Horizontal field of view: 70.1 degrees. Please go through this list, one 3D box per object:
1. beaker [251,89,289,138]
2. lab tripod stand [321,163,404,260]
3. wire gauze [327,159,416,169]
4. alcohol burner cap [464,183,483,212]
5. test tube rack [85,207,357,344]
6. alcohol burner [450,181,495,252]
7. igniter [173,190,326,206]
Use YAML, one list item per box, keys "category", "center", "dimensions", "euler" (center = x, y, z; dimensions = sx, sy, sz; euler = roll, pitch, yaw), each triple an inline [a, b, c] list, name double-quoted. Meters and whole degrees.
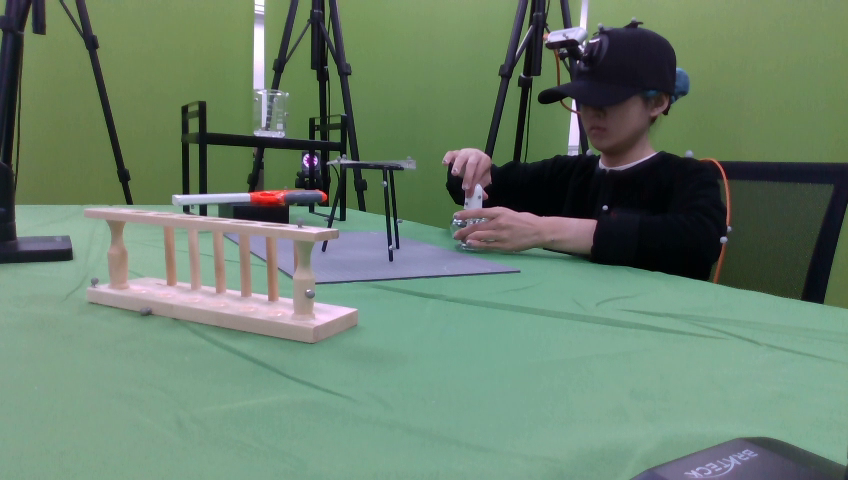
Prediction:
- category: "beaker"
  center: [-0.334, -0.273, 1.316]
  dimensions: [0.084, 0.100, 0.074]
  euler: [5, 8, 15]
- category: "lab tripod stand"
  center: [-0.076, -0.045, 0.884]
  dimensions: [0.148, 0.131, 0.148]
  euler: [2, 5, 0]
- category: "wire gauze"
  center: [-0.072, -0.111, 0.872]
  dimensions: [0.121, 0.011, 0.125]
  euler: [3, 5, -2]
- category: "alcohol burner cap"
  center: [0.084, -0.071, 1.010]
  dimensions: [0.034, 0.048, 0.034]
  euler: [3, 8, 0]
- category: "test tube rack"
  center: [-0.177, 0.022, 0.518]
  dimensions: [0.241, 0.085, 0.067]
  euler: [6, 7, 23]
- category: "alcohol burner"
  center: [0.083, -0.040, 1.016]
  dimensions: [0.078, 0.119, 0.078]
  euler: [4, 8, 0]
- category: "igniter"
  center: [-0.317, -0.079, 1.128]
  dimensions: [0.278, 0.025, 0.057]
  euler: [-4, 13, -32]
